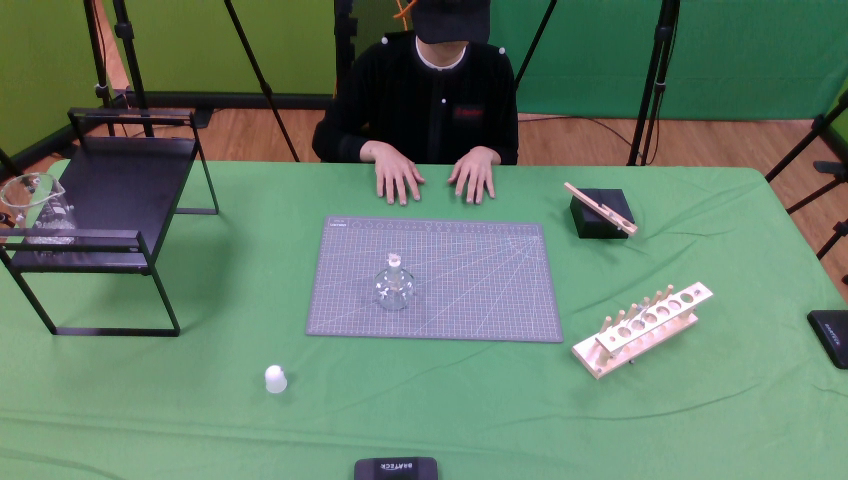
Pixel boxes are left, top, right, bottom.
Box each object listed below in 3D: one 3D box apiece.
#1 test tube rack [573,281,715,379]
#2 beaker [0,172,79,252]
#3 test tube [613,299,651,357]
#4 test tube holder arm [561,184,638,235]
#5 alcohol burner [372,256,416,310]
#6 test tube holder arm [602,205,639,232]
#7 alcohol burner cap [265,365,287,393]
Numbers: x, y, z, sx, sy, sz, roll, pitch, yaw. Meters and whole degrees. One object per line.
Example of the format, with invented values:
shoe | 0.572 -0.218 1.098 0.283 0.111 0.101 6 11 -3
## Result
test tube rack | 0.378 0.140 1.038 0.242 0.085 0.066 -22 51 -23
beaker | -0.557 -0.038 0.889 0.084 0.101 0.073 -3 47 -8
test tube | 0.328 0.143 0.962 0.017 0.151 0.017 3 48 -3
test tube holder arm | 0.349 -0.063 1.213 0.177 0.015 0.013 36 52 26
alcohol burner | -0.052 0.068 1.057 0.078 0.120 0.077 1 48 -1
test tube holder arm | 0.385 -0.041 1.196 0.010 0.015 0.087 -30 56 -32
alcohol burner cap | -0.236 0.216 0.956 0.034 0.048 0.033 3 45 -3
